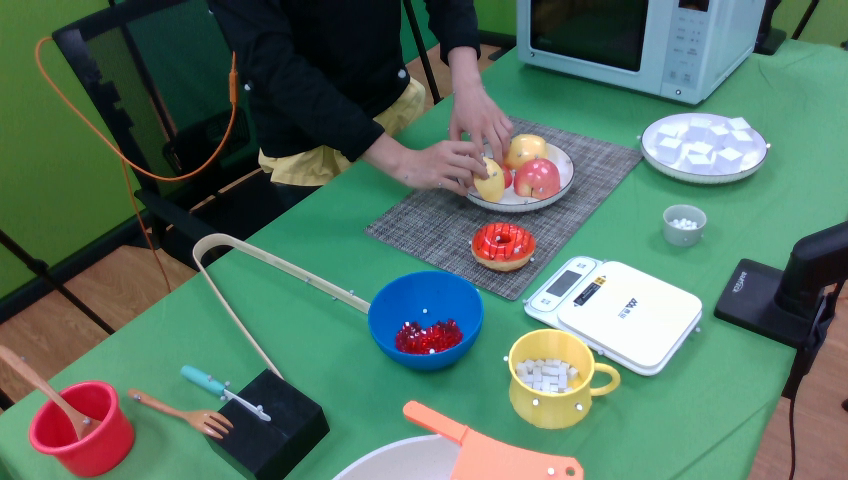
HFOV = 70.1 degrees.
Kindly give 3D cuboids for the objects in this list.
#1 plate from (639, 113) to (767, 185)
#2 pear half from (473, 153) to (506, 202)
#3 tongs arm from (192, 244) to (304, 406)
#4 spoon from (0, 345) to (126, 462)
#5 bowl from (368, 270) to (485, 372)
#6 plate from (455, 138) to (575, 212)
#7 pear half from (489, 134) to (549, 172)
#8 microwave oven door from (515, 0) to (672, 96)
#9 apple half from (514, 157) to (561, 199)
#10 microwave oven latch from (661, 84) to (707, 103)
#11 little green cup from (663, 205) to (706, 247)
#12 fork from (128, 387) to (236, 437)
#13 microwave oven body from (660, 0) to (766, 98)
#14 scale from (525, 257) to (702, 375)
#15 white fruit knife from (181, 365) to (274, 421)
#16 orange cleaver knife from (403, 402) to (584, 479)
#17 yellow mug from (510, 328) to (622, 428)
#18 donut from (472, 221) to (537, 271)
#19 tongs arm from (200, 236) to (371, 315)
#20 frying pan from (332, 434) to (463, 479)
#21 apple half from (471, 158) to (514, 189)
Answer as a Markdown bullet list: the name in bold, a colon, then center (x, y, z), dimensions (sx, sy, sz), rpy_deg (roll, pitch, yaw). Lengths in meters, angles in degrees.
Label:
- **plate**: center (0.489, -0.157, 1.074), dimensions (0.207, 0.039, 0.206), rpy_deg (-4, 40, 4)
- **pear half**: center (0.113, -0.106, 0.996), dimensions (0.031, 0.088, 0.070), rpy_deg (-12, 24, 38)
- **tongs arm**: center (-0.268, 0.111, 0.884), dimensions (0.028, 0.028, 0.384), rpy_deg (-36, 47, -17)
- **spoon**: center (-0.434, 0.192, 0.720), dimensions (0.194, 0.021, 0.042), rpy_deg (47, 53, -7)
- **bowl**: center (0.007, 0.118, 0.791), dimensions (0.151, 0.077, 0.150), rpy_deg (-5, 39, 4)
- **plate**: center (0.159, -0.111, 1.063), dimensions (0.209, 0.038, 0.208), rpy_deg (-4, 40, 4)
- **pear half**: center (0.167, -0.161, 1.094), dimensions (0.109, 0.056, 0.076), rpy_deg (-6, 43, 17)
- **microwave oven door**: center (0.343, -0.455, 1.259), dimensions (0.353, 0.245, 0.039), rpy_deg (26, 51, 33)
- **apple half**: center (0.195, -0.112, 1.032), dimensions (0.080, 0.053, 0.075), rpy_deg (14, 42, 28)
- **microwave oven latch**: center (0.517, -0.296, 1.204), dimensions (0.078, 0.029, 0.030), rpy_deg (27, 52, 35)
- **little green cup**: center (0.396, -0.020, 0.926), dimensions (0.061, 0.039, 0.061), rpy_deg (-4, 40, 4)
- **fork**: center (-0.305, 0.207, 0.744), dimensions (0.206, 0.019, 0.028), rpy_deg (3, 41, 36)
- **microwave oven body**: center (0.472, -0.513, 1.317), dimensions (0.438, 0.261, 0.327), rpy_deg (26, 51, 34)
- **scale**: center (0.254, 0.091, 0.821), dimensions (0.199, 0.032, 0.149), rpy_deg (28, 51, 35)
- **white fruit knife**: center (-0.245, 0.187, 0.747), dimensions (0.205, 0.027, 0.016), rpy_deg (9, 41, 40)
- **orange cleaver knife**: center (0.062, 0.222, 0.609), dimensions (0.210, 0.012, 0.077), rpy_deg (15, 48, 25)
- **yellow mug**: center (0.168, 0.164, 0.722), dimensions (0.130, 0.064, 0.099), rpy_deg (0, 40, 8)
- **donut**: center (0.123, 0.008, 0.923), dimensions (0.099, 0.048, 0.098), rpy_deg (-3, 38, 3)
- **tongs arm**: center (-0.209, 0.062, 0.924), dimensions (0.381, 0.027, 0.051), rpy_deg (23, 54, 32)
- **frying pan**: center (-0.089, 0.306, 0.564), dimensions (0.487, 0.103, 0.306), rpy_deg (10, 41, 7)
- **apple half**: center (0.119, -0.124, 1.074), dimensions (0.081, 0.033, 0.081), rpy_deg (-6, 47, 7)
